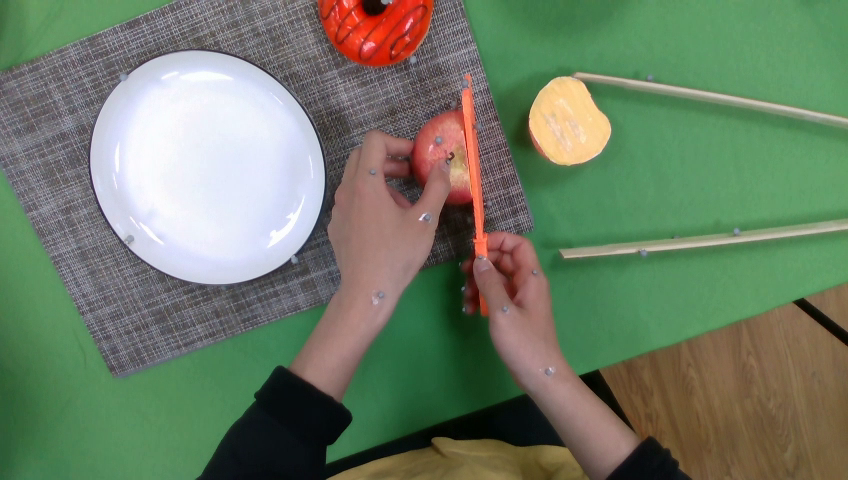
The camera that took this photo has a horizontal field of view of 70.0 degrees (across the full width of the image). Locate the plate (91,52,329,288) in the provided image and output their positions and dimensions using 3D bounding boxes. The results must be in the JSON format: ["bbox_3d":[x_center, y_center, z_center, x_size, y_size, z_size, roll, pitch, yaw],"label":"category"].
[{"bbox_3d":[-0.188,-0.061,0.549,0.209,0.038,0.210,0,104,0],"label":"plate"}]

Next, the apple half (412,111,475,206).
[{"bbox_3d":[0.017,-0.070,0.531,0.053,0.074,0.081,-7,107,9],"label":"apple half"}]

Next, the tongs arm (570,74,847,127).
[{"bbox_3d":[0.321,-0.109,0.550,0.388,0.027,0.028,10,96,-3],"label":"tongs arm"}]

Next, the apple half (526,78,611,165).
[{"bbox_3d":[0.123,-0.101,0.546,0.081,0.033,0.081,2,82,-12],"label":"apple half"}]

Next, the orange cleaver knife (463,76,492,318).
[{"bbox_3d":[0.049,-0.035,0.538,0.012,0.077,0.212,-3,108,11],"label":"orange cleaver knife"}]

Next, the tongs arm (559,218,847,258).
[{"bbox_3d":[0.320,-0.024,0.568,0.385,0.026,0.051,-5,100,0],"label":"tongs arm"}]

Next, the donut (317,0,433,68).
[{"bbox_3d":[-0.042,-0.197,0.513,0.099,0.048,0.099,0,105,1],"label":"donut"}]
